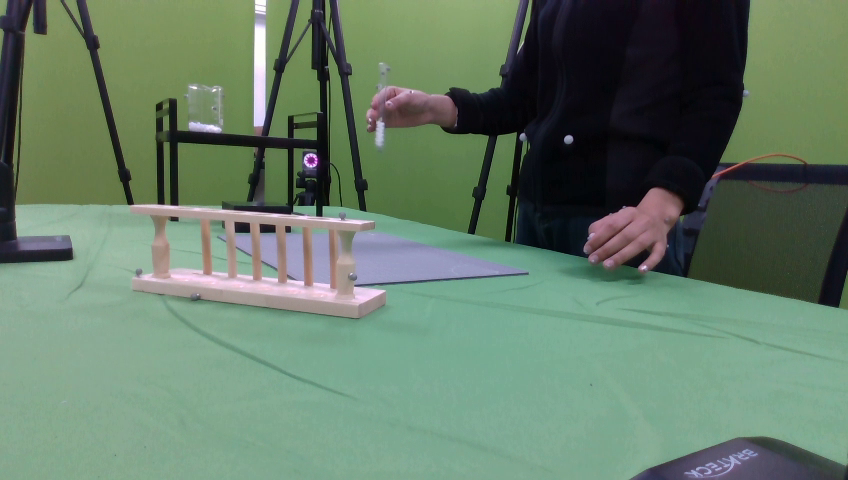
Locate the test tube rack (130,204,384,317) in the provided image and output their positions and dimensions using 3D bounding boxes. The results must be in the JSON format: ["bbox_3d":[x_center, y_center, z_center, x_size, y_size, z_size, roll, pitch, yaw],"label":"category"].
[{"bbox_3d":[-0.163,0.013,0.589,0.242,0.085,0.067,5,8,17],"label":"test tube rack"}]

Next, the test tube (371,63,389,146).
[{"bbox_3d":[-0.077,-0.236,1.052,0.017,0.150,0.017,7,-7,1],"label":"test tube"}]

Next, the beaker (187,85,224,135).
[{"bbox_3d":[-0.466,-0.276,1.296,0.074,0.100,0.083,-3,10,-35],"label":"beaker"}]
